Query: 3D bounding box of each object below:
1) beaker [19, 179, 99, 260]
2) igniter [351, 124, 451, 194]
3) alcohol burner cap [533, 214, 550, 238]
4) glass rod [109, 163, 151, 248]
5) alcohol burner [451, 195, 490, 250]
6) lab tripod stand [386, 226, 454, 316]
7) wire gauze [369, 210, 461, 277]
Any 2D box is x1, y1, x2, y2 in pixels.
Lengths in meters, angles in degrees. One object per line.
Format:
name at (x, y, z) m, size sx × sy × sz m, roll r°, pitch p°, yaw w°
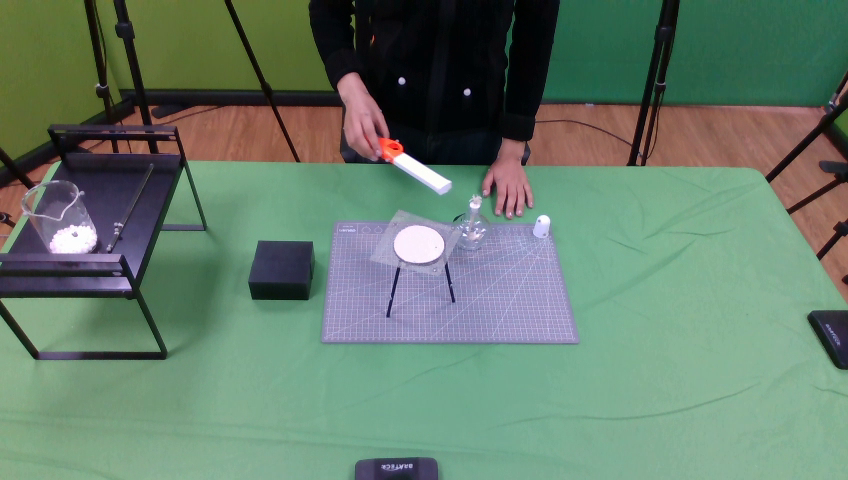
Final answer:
beaker at (-0.522, -0.024, 0.878) m, size 0.074 × 0.101 × 0.083 m, roll -26°, pitch 54°, yaw -25°
igniter at (-0.053, -0.160, 1.149) m, size 0.057 × 0.025 × 0.275 m, roll -32°, pitch 50°, yaw -28°
alcohol burner cap at (0.240, -0.031, 1.228) m, size 0.034 × 0.048 × 0.033 m, roll 1°, pitch 46°, yaw -1°
glass rod at (-0.473, -0.061, 0.979) m, size 0.008 × 0.008 × 0.198 m, roll 2°, pitch 46°, yaw -3°
alcohol burner at (0.092, -0.039, 1.175) m, size 0.078 × 0.120 × 0.077 m, roll 2°, pitch 44°, yaw -2°
lab tripod stand at (-0.014, 0.054, 1.064) m, size 0.148 × 0.132 × 0.147 m, roll 2°, pitch 48°, yaw -2°
wire gauze at (-0.013, 0.006, 1.017) m, size 0.121 × 0.011 × 0.124 m, roll 17°, pitch 49°, yaw 12°
